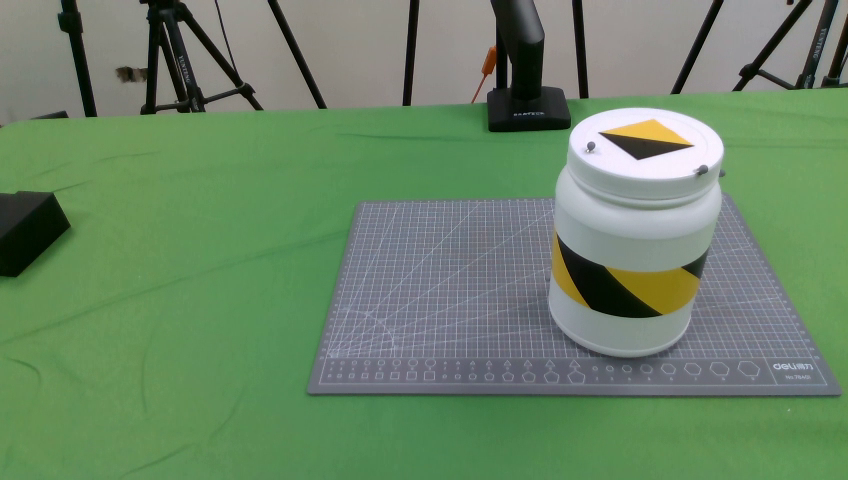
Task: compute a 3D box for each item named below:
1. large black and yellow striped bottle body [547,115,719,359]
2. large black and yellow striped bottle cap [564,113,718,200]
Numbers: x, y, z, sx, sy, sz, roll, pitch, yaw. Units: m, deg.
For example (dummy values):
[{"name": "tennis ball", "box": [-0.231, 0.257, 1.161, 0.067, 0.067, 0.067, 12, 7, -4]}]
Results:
[{"name": "large black and yellow striped bottle body", "box": [0.177, -0.002, 0.528, 0.131, 0.185, 0.129, -3, 38, 3]}, {"name": "large black and yellow striped bottle cap", "box": [0.169, -0.069, 0.477, 0.115, 0.019, 0.114, -2, 37, 2]}]
